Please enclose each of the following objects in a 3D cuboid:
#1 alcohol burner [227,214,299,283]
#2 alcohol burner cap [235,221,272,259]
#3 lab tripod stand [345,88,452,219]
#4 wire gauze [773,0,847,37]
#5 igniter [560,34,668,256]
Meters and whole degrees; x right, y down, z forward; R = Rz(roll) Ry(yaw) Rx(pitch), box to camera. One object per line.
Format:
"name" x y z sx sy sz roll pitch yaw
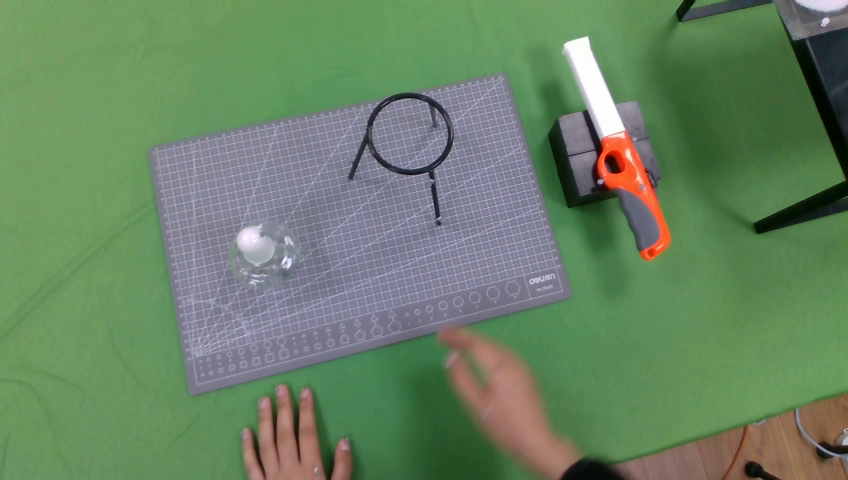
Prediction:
"alcohol burner" -0.177 0.006 0.653 0.078 0.119 0.077 1 80 -3
"alcohol burner cap" -0.176 -0.002 0.618 0.034 0.048 0.033 1 71 -2
"lab tripod stand" -0.019 -0.103 0.675 0.148 0.132 0.147 1 76 -2
"wire gauze" 0.406 -0.274 0.619 0.125 0.011 0.121 -17 82 -4
"igniter" 0.219 -0.114 0.701 0.057 0.025 0.275 -17 78 -4
